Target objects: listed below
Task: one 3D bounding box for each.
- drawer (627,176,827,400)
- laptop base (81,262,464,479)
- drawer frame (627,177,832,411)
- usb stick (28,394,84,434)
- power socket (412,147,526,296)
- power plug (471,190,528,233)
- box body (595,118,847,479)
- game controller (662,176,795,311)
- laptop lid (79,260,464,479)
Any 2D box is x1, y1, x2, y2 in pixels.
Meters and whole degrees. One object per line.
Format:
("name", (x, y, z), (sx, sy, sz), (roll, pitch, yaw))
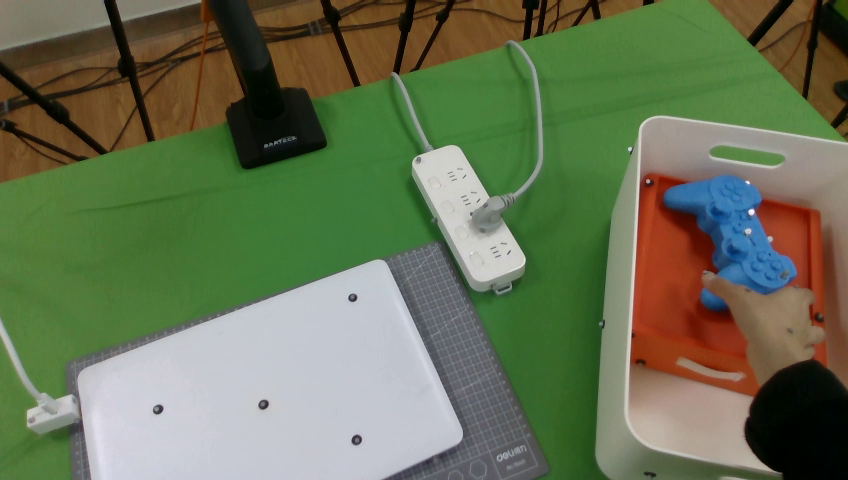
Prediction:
("drawer", (0.323, 0.048, 0.665), (0.194, 0.074, 0.210), (14, 61, 10))
("laptop base", (-0.163, 0.176, 0.639), (0.355, 0.023, 0.233), (-21, 63, -12))
("drawer frame", (0.318, 0.051, 0.667), (0.201, 0.083, 0.212), (15, 54, 9))
("usb stick", (-0.371, 0.178, 0.626), (0.059, 0.027, 0.021), (-16, 53, -13))
("power socket", (0.053, -0.030, 0.761), (0.072, 0.033, 0.224), (-19, 59, -13))
("power plug", (0.093, -0.028, 0.732), (0.072, 0.053, 0.035), (-9, 56, -7))
("box body", (0.318, 0.074, 0.614), (0.254, 0.162, 0.361), (10, 58, 7))
("game controller", (0.324, -0.003, 0.643), (0.097, 0.052, 0.153), (-2, 58, -6))
("laptop lid", (-0.163, 0.171, 0.628), (0.357, 0.013, 0.239), (-19, 61, -11))
